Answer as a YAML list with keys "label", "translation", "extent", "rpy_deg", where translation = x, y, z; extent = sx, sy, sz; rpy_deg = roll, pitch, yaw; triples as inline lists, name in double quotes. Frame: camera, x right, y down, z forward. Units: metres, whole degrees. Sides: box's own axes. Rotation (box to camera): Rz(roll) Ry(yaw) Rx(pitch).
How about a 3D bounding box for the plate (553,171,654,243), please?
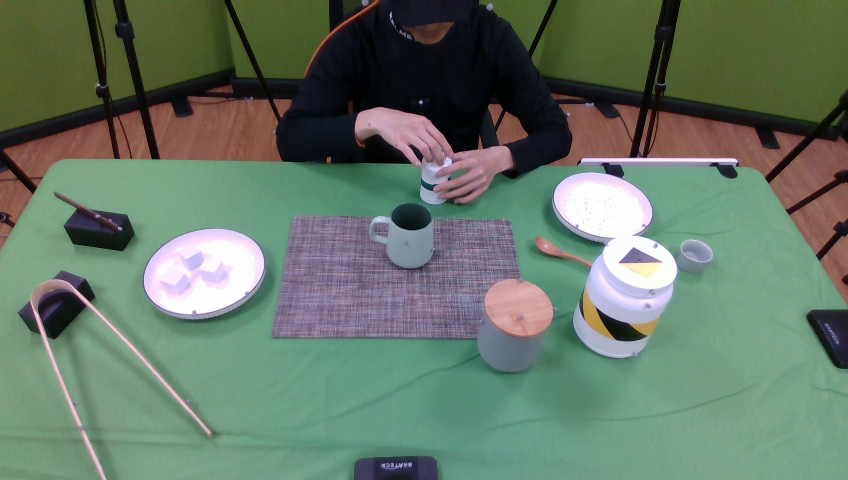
- label: "plate"
  translation: [0.373, -0.066, 1.275]
  extent: [0.209, 0.038, 0.208]
  rpy_deg: [2, 46, -2]

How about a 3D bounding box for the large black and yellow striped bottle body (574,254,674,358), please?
- label: "large black and yellow striped bottle body"
  translation: [0.335, 0.096, 1.014]
  extent: [0.131, 0.185, 0.130]
  rpy_deg: [2, 46, -2]

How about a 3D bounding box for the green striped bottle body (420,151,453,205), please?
- label: "green striped bottle body"
  translation: [0.025, -0.137, 1.262]
  extent: [0.063, 0.120, 0.063]
  rpy_deg: [3, 45, -2]

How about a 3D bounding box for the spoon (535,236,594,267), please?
- label: "spoon"
  translation: [0.303, 0.040, 1.178]
  extent: [0.193, 0.022, 0.041]
  rpy_deg: [25, 30, 19]

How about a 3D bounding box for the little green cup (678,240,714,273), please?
- label: "little green cup"
  translation: [0.530, 0.033, 1.190]
  extent: [0.061, 0.039, 0.061]
  rpy_deg: [2, 46, -1]

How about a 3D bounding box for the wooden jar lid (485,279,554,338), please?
- label: "wooden jar lid"
  translation: [0.147, 0.108, 0.940]
  extent: [0.108, 0.021, 0.107]
  rpy_deg: [4, 47, -4]

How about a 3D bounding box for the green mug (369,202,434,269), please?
- label: "green mug"
  translation: [-0.042, -0.010, 1.140]
  extent: [0.125, 0.105, 0.092]
  rpy_deg: [7, 46, 4]

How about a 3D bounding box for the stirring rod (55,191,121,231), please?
- label: "stirring rod"
  translation: [-0.632, -0.055, 1.138]
  extent: [0.175, 0.014, 0.006]
  rpy_deg: [24, 50, 19]

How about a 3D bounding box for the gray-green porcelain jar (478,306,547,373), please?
- label: "gray-green porcelain jar"
  translation: [0.144, 0.148, 0.989]
  extent: [0.106, 0.127, 0.105]
  rpy_deg: [1, 50, -2]

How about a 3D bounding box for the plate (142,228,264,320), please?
- label: "plate"
  translation: [-0.394, 0.064, 1.095]
  extent: [0.208, 0.039, 0.206]
  rpy_deg: [2, 46, -2]

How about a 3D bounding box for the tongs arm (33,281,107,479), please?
- label: "tongs arm"
  translation: [-0.517, 0.214, 0.910]
  extent: [0.051, 0.026, 0.383]
  rpy_deg: [-29, 63, -27]

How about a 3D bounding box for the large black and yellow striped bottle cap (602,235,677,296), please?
- label: "large black and yellow striped bottle cap"
  translation: [0.340, 0.037, 0.955]
  extent: [0.115, 0.019, 0.114]
  rpy_deg: [2, 47, -1]

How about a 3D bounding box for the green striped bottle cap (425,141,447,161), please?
- label: "green striped bottle cap"
  translation: [0.025, -0.178, 1.224]
  extent: [0.044, 0.020, 0.044]
  rpy_deg: [3, 61, -5]

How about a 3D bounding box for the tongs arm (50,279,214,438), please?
- label: "tongs arm"
  translation: [-0.459, 0.178, 0.949]
  extent: [0.386, 0.028, 0.028]
  rpy_deg: [37, 60, 17]
